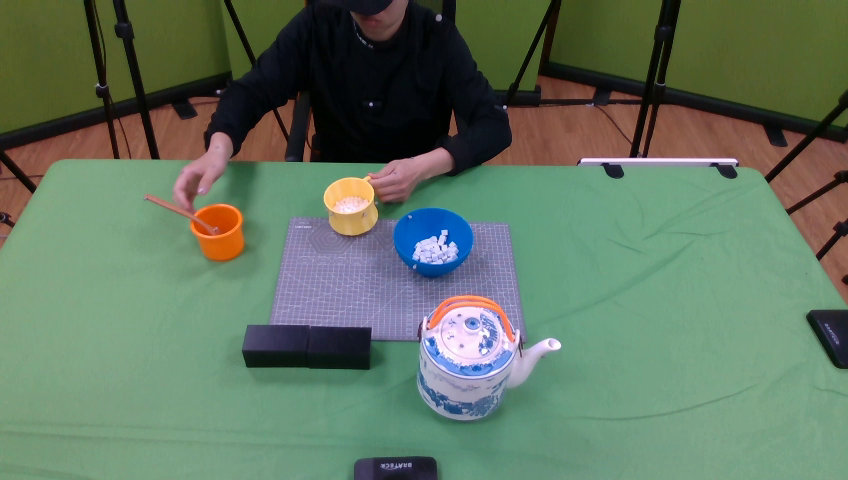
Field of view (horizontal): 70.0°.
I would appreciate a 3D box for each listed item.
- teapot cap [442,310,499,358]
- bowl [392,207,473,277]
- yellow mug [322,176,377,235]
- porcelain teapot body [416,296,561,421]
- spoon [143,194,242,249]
[{"bbox_3d":[0.068,0.133,0.880,0.085,0.044,0.084,4,45,-4],"label":"teapot cap"},{"bbox_3d":[0.014,0.016,1.140,0.151,0.077,0.150,2,46,-2],"label":"bowl"},{"bbox_3d":[-0.139,-0.079,1.209,0.099,0.064,0.130,22,54,19],"label":"yellow mug"},{"bbox_3d":[0.094,0.164,0.907,0.205,0.226,0.144,6,45,1],"label":"porcelain teapot body"},{"bbox_3d":[-0.421,-0.036,1.112,0.021,0.195,0.041,-35,38,24],"label":"spoon"}]
